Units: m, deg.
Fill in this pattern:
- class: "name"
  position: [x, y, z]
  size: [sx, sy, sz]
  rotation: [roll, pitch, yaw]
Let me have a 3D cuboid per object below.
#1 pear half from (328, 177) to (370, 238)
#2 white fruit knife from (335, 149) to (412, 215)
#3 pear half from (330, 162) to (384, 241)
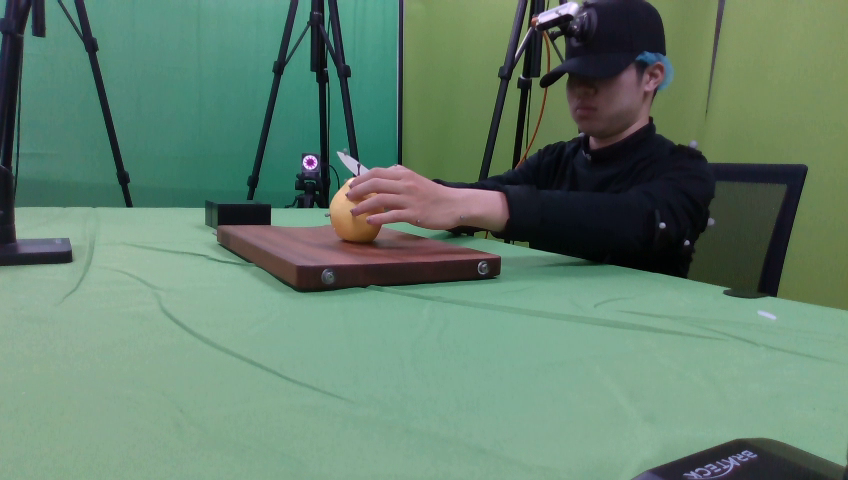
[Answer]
- class: "pear half"
  position: [-0.112, -0.047, 0.864]
  size: [0.031, 0.088, 0.071]
  rotation: [9, 12, 38]
- class: "white fruit knife"
  position: [-0.071, -0.087, 0.900]
  size: [0.016, 0.027, 0.208]
  rotation: [-4, -20, 28]
- class: "pear half"
  position: [-0.086, -0.053, 0.838]
  size: [0.055, 0.110, 0.077]
  rotation: [11, 16, 38]
